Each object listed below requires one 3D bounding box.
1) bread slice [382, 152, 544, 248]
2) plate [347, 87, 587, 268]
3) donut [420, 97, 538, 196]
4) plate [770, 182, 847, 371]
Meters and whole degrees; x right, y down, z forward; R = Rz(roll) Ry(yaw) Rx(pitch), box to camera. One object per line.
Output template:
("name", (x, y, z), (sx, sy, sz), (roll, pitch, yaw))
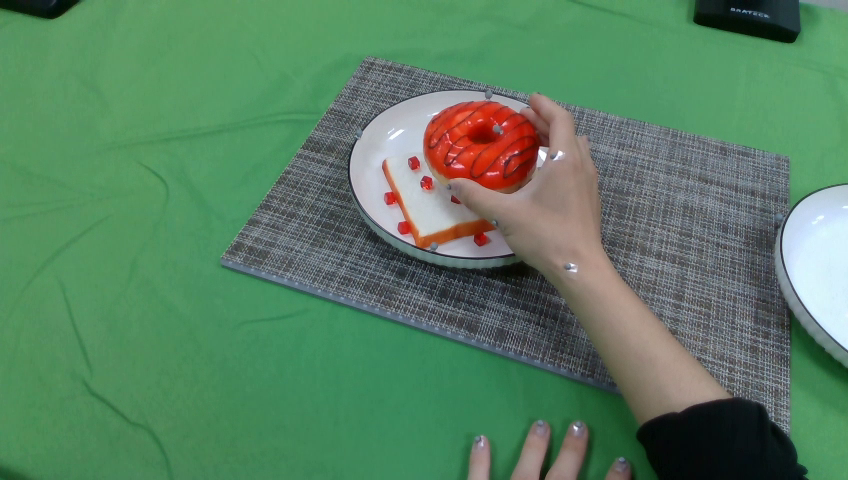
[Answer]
("bread slice", (0.038, -0.052, 0.539), (0.132, 0.019, 0.103), (-17, 55, -13))
("plate", (0.036, -0.057, 0.540), (0.209, 0.038, 0.207), (1, 53, -1))
("donut", (0.046, -0.079, 0.506), (0.099, 0.048, 0.098), (3, 55, -4))
("plate", (0.379, 0.041, 0.480), (0.208, 0.039, 0.205), (1, 53, -1))
